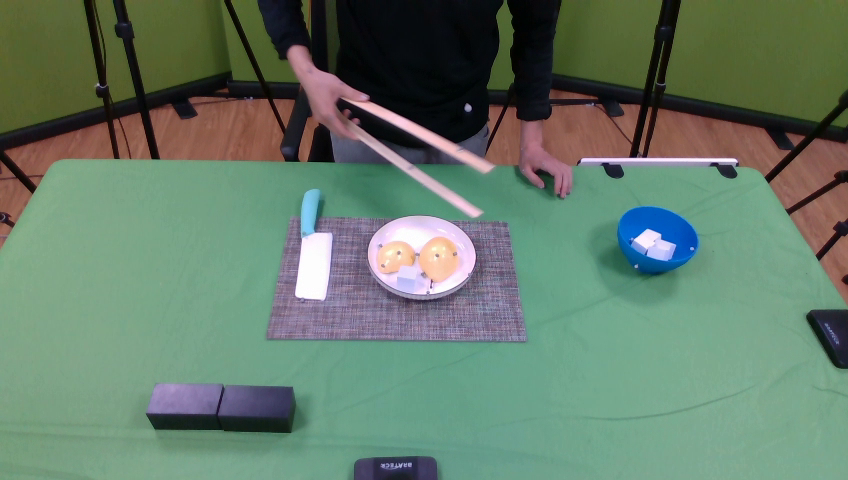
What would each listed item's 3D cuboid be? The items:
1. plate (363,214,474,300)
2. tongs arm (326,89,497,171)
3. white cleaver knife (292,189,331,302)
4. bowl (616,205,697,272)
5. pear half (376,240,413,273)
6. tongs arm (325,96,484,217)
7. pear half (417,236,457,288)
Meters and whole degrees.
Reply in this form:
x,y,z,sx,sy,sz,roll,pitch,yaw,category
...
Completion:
x,y,z,sx,sy,sz,roll,pitch,yaw,category
-0.010,0.036,1.146,0.208,0.039,0.206,3,46,-2,plate
-0.033,-0.206,1.103,0.386,0.028,0.028,29,52,25,tongs arm
-0.215,0.006,1.178,0.066,0.021,0.284,5,49,-12,white cleaver knife
0.442,0.010,1.183,0.151,0.077,0.150,2,46,-2,bowl
-0.058,0.026,1.146,0.070,0.031,0.088,22,43,21,pear half
-0.041,-0.163,1.145,0.383,0.051,0.026,34,50,20,tongs arm
0.022,0.039,1.127,0.076,0.056,0.109,6,50,7,pear half
